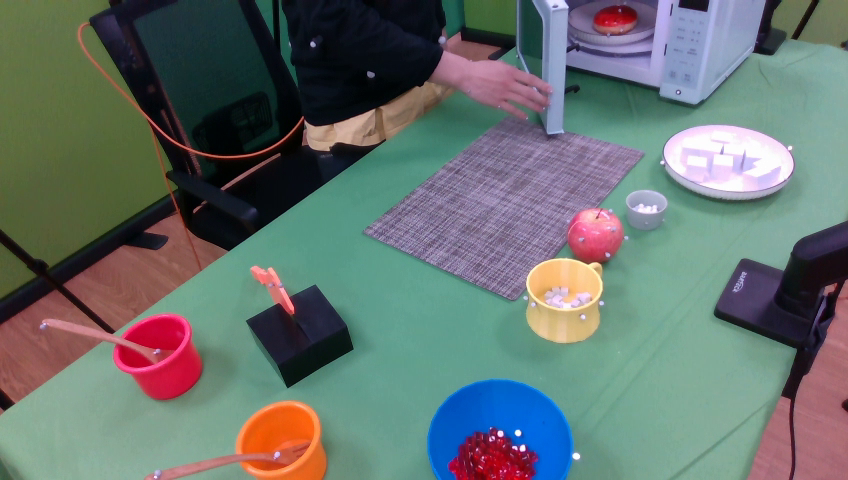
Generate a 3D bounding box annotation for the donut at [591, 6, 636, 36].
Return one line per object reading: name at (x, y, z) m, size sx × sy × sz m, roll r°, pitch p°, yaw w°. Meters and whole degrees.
donut at (0.427, -0.496, 1.365) m, size 0.099 × 0.048 × 0.098 m, roll -6°, pitch 39°, yaw 5°

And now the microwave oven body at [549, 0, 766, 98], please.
microwave oven body at (0.472, -0.513, 1.317) m, size 0.438 × 0.261 × 0.327 m, roll 26°, pitch 51°, yaw 34°

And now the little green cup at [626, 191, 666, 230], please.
little green cup at (0.352, -0.046, 0.963) m, size 0.061 × 0.039 × 0.061 m, roll -4°, pitch 40°, yaw 4°

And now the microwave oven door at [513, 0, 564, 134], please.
microwave oven door at (0.228, -0.408, 1.223) m, size 0.039 × 0.245 × 0.353 m, roll -7°, pitch 40°, yaw 0°

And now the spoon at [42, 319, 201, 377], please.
spoon at (-0.385, 0.135, 0.779) m, size 0.195 × 0.021 × 0.041 m, roll 28°, pitch 36°, yaw -26°

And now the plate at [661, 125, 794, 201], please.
plate at (0.513, -0.128, 1.035) m, size 0.207 × 0.039 × 0.206 m, roll -4°, pitch 40°, yaw 4°

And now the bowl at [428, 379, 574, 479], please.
bowl at (0.082, 0.233, 0.644) m, size 0.151 × 0.077 × 0.150 m, roll -4°, pitch 39°, yaw 4°

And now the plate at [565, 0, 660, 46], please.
plate at (0.427, -0.489, 1.376) m, size 0.209 × 0.038 × 0.208 m, roll -5°, pitch 40°, yaw 4°

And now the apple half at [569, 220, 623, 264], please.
apple half at (0.251, 0.010, 0.884) m, size 0.081 × 0.081 × 0.032 m, roll 3°, pitch 37°, yaw 13°

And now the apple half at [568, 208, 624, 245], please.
apple half at (0.259, -0.014, 0.914) m, size 0.080 × 0.075 × 0.053 m, roll 0°, pitch 36°, yaw 15°

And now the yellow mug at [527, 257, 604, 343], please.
yellow mug at (0.201, 0.072, 0.825) m, size 0.131 × 0.064 × 0.099 m, roll -32°, pitch 46°, yaw -27°

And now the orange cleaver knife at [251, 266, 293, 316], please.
orange cleaver knife at (-0.221, 0.071, 0.873) m, size 0.012 × 0.077 × 0.210 m, roll -25°, pitch 11°, yaw -21°

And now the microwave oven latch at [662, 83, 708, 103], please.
microwave oven latch at (0.518, -0.296, 1.204) m, size 0.078 × 0.029 × 0.030 m, roll 28°, pitch 52°, yaw 35°

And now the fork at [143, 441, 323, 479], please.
fork at (-0.189, 0.231, 0.631) m, size 0.028 × 0.018 × 0.209 m, roll 35°, pitch 13°, yaw 37°
